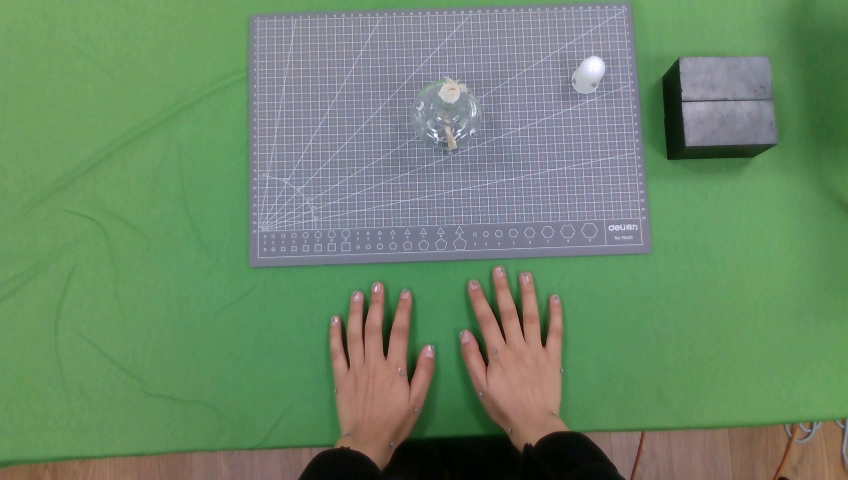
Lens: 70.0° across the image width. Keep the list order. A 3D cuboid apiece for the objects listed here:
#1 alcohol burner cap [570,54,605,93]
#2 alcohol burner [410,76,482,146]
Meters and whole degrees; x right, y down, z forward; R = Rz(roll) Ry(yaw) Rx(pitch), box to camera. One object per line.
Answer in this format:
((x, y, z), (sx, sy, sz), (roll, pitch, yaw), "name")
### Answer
((0.186, -0.191, 0.684), (0.034, 0.048, 0.033), (0, 81, -1), "alcohol burner cap")
((0.025, -0.142, 0.641), (0.078, 0.119, 0.077), (0, 83, -2), "alcohol burner")
